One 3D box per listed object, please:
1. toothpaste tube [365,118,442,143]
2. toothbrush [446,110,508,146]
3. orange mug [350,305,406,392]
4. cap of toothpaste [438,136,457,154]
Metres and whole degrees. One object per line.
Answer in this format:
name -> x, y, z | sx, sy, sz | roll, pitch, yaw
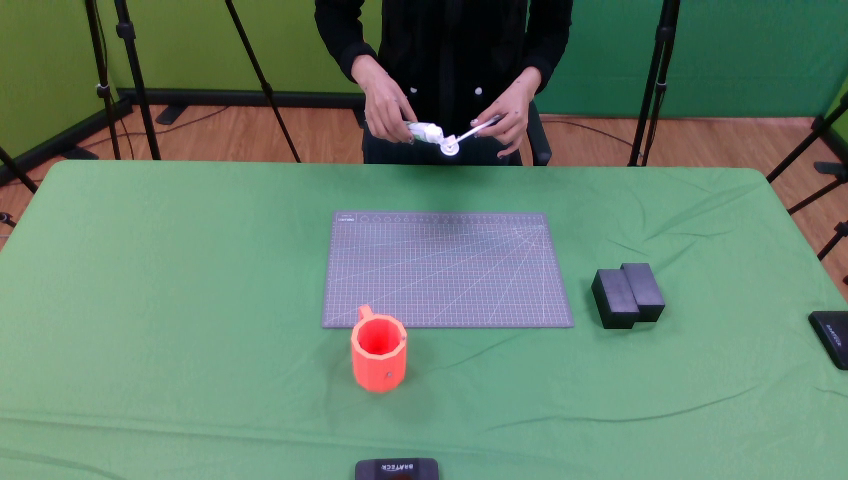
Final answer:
toothpaste tube -> -0.033, -0.209, 1.142 | 0.164, 0.055, 0.034 | 17, 83, 33
toothbrush -> 0.101, -0.215, 1.141 | 0.182, 0.017, 0.014 | -33, 18, -37
orange mug -> -0.080, 0.168, 0.978 | 0.083, 0.101, 0.125 | -16, 54, -18
cap of toothpaste -> 0.043, -0.175, 1.112 | 0.037, 0.011, 0.037 | 3, 65, -6
